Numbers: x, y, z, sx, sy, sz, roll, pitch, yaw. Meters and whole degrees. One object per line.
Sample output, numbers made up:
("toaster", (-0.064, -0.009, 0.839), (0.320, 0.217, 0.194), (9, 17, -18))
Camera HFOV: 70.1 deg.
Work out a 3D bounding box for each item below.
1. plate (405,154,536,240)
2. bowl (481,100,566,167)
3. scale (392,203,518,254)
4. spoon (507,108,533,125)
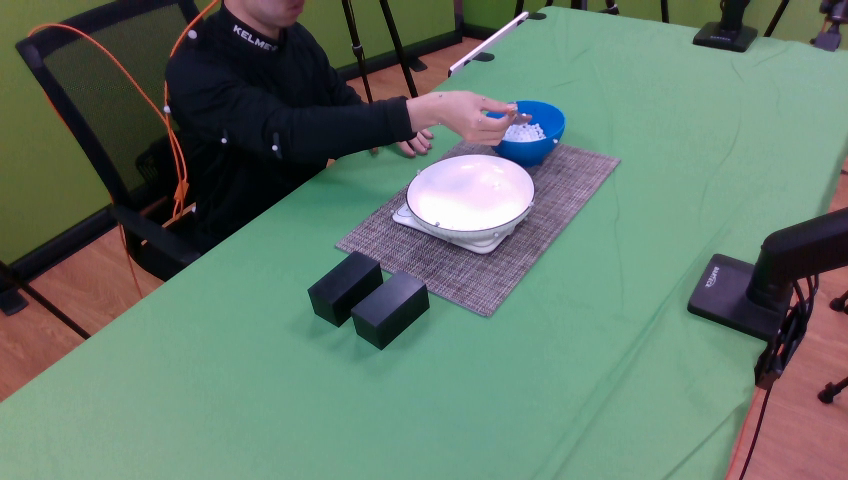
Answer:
("plate", (0.075, -0.067, 0.973), (0.209, 0.038, 0.208), (-4, 41, 4))
("bowl", (0.183, -0.186, 1.111), (0.151, 0.077, 0.150), (-4, 40, 4))
("scale", (0.060, -0.050, 1.006), (0.199, 0.032, 0.149), (22, 48, 30))
("spoon", (0.158, -0.214, 1.035), (0.041, 0.021, 0.194), (-9, 1, 17))
